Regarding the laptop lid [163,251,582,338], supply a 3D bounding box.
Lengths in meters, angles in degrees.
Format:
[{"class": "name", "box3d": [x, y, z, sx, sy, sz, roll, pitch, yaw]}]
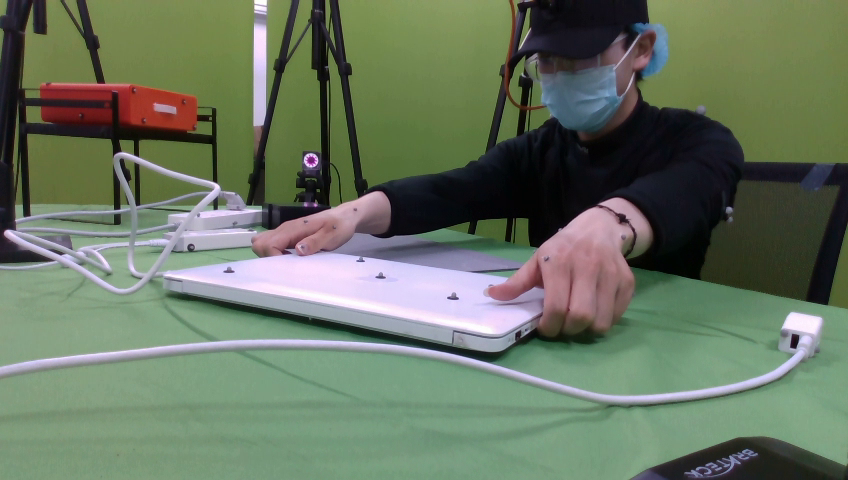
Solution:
[{"class": "laptop lid", "box3d": [-0.045, 0.040, 0.598, 0.355, 0.013, 0.243, 7, 7, 30]}]

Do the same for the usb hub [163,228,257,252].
[{"class": "usb hub", "box3d": [-0.313, -0.001, 0.894, 0.049, 0.025, 0.126, 9, 10, 41]}]

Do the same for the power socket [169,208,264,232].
[{"class": "power socket", "box3d": [-0.381, -0.038, 1.128, 0.072, 0.032, 0.227, 4, 8, 17]}]

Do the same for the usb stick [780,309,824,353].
[{"class": "usb stick", "box3d": [0.311, 0.072, 0.496, 0.027, 0.021, 0.059, 8, 16, 34]}]

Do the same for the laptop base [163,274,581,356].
[{"class": "laptop base", "box3d": [-0.047, 0.053, 0.598, 0.353, 0.023, 0.236, 7, 6, 28]}]

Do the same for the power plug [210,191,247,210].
[{"class": "power plug", "box3d": [-0.386, -0.071, 1.204, 0.072, 0.052, 0.035, 8, 11, 25]}]

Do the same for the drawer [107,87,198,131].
[{"class": "drawer", "box3d": [-0.609, -0.265, 1.236, 0.211, 0.073, 0.195, 4, 8, 16]}]

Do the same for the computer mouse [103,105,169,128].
[{"class": "computer mouse", "box3d": [-0.581, -0.249, 1.223, 0.118, 0.041, 0.062, 2, 3, -39]}]

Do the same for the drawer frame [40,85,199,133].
[{"class": "drawer frame", "box3d": [-0.612, -0.266, 1.235, 0.213, 0.082, 0.202, 3, 8, 15]}]
